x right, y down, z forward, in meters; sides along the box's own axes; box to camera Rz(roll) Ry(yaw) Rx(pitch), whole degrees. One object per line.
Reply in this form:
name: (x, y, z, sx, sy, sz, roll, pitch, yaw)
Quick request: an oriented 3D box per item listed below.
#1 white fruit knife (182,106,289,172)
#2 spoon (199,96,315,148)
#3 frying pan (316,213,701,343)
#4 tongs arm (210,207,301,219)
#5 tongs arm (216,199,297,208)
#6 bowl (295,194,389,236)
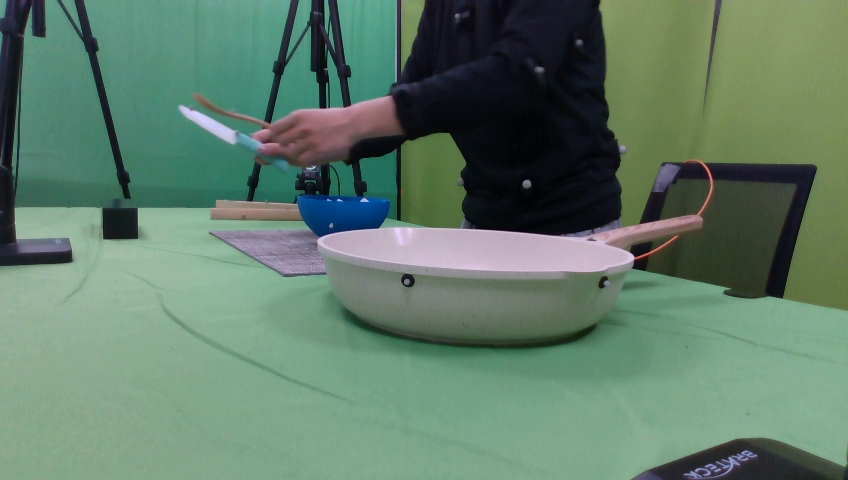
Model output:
white fruit knife: (-0.325, -0.179, 1.059, 0.208, 0.027, 0.016, 29, -16, -32)
spoon: (-0.259, -0.184, 0.958, 0.195, 0.021, 0.041, 15, -8, -32)
frying pan: (0.133, 0.013, 0.629, 0.490, 0.102, 0.305, -12, 14, -30)
tongs arm: (-0.287, -0.062, 1.392, 0.389, 0.028, 0.028, 0, 5, -23)
tongs arm: (-0.307, -0.076, 1.469, 0.386, 0.026, 0.050, 2, 8, -10)
bowl: (-0.132, -0.032, 0.980, 0.151, 0.077, 0.151, 2, 7, 0)
